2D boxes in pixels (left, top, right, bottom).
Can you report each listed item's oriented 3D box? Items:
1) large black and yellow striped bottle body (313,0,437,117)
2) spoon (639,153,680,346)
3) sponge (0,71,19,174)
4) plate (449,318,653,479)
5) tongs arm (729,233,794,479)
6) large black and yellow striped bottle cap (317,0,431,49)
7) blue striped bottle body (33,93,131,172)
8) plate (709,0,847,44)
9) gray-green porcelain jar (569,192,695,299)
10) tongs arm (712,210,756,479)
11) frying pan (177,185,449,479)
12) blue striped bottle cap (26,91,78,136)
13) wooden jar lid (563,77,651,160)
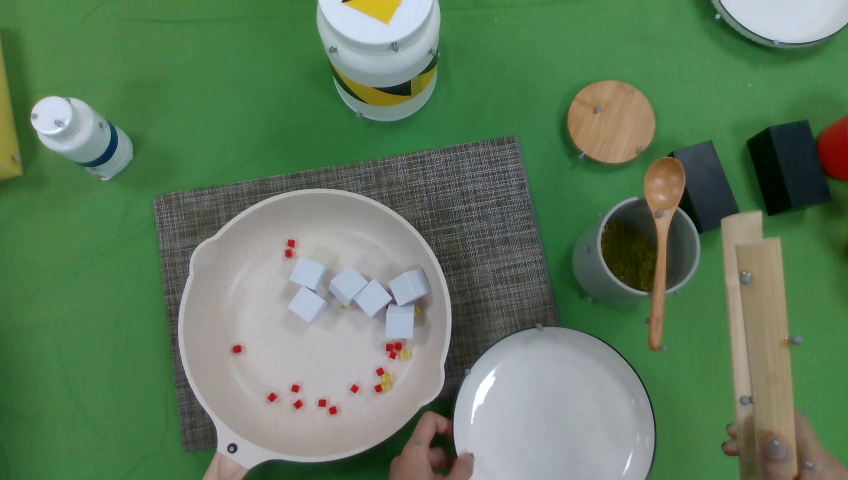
[{"bbox_3d":[-0.052,-0.231,0.680,0.131,0.184,0.130,0,80,-1],"label":"large black and yellow striped bottle body"},{"bbox_3d":[0.232,0.009,0.608,0.042,0.021,0.193,6,85,-4],"label":"spoon"},{"bbox_3d":[-0.574,-0.173,0.717,0.118,0.061,0.206,-15,83,-4],"label":"sponge"},{"bbox_3d":[0.130,0.186,0.634,0.208,0.039,0.207,0,80,0],"label":"plate"},{"bbox_3d":[0.251,0.159,0.447,0.026,0.050,0.387,-14,112,10],"label":"tongs arm"},{"bbox_3d":[-0.049,-0.246,0.598,0.115,0.019,0.114,0,82,-1],"label":"large black and yellow striped bottle cap"},{"bbox_3d":[-0.390,-0.123,0.685,0.063,0.121,0.063,0,80,-1],"label":"blue striped bottle body"},{"bbox_3d":[0.458,-0.347,0.785,0.209,0.038,0.208,0,81,-1],"label":"plate"},{"bbox_3d":[0.224,0.012,0.678,0.106,0.127,0.105,0,80,-1],"label":"gray-green porcelain jar"},{"bbox_3d":[0.252,0.149,0.467,0.028,0.028,0.391,-16,116,7],"label":"tongs arm"},{"bbox_3d":[-0.171,0.171,0.650,0.306,0.103,0.486,31,73,4],"label":"frying pan"},{"bbox_3d":[-0.390,-0.133,0.635,0.044,0.020,0.044,0,82,-2],"label":"blue striped bottle cap"},{"bbox_3d":[0.227,-0.150,0.758,0.108,0.021,0.108,0,83,-1],"label":"wooden jar lid"}]
